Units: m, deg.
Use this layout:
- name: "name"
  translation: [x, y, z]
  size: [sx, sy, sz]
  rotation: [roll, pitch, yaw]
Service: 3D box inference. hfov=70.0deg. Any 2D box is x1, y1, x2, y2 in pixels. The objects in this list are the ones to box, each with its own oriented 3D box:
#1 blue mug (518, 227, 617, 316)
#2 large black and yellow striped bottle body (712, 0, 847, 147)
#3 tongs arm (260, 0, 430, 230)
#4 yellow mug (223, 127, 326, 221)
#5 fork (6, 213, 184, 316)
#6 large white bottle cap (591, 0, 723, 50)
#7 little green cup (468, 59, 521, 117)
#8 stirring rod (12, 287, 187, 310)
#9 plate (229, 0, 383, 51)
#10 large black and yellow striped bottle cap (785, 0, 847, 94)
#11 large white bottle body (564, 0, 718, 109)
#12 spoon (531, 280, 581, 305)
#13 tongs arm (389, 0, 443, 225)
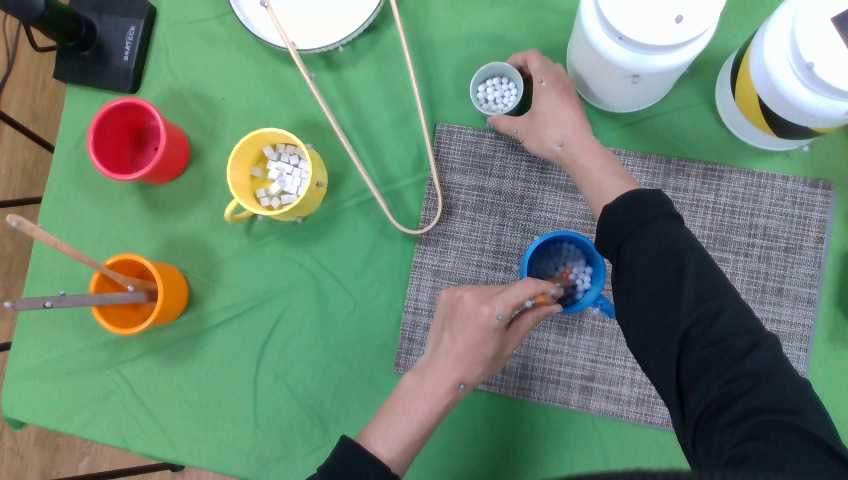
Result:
- name: "blue mug"
  translation: [0.156, 0.042, 0.646]
  size: [0.116, 0.106, 0.082]
  rotation: [38, 91, 8]
- name: "large black and yellow striped bottle body"
  translation: [0.381, -0.174, 0.597]
  size: [0.130, 0.184, 0.130]
  rotation: [0, 86, 7]
- name: "tongs arm"
  translation: [-0.105, -0.175, 0.706]
  size: [0.051, 0.026, 0.385]
  rotation: [-28, 91, 0]
- name: "yellow mug"
  translation: [-0.185, -0.067, 0.714]
  size: [0.131, 0.064, 0.099]
  rotation: [-42, 84, 4]
- name: "fork"
  translation: [-0.367, 0.030, 0.687]
  size: [0.209, 0.018, 0.028]
  rotation: [40, 86, -36]
- name: "large white bottle cap"
  translation: [0.205, -0.226, 0.534]
  size: [0.114, 0.018, 0.114]
  rotation: [0, 87, 7]
- name: "little green cup"
  translation: [0.083, -0.173, 0.702]
  size: [0.061, 0.039, 0.061]
  rotation: [-1, 86, 11]
- name: "stirring rod"
  translation: [-0.363, 0.066, 0.691]
  size: [0.177, 0.006, 0.014]
  rotation: [-2, 80, -35]
- name: "plate"
  translation: [-0.139, -0.329, 0.737]
  size: [0.207, 0.039, 0.207]
  rotation: [0, 87, 7]
- name: "large black and yellow striped bottle cap"
  translation: [0.370, -0.182, 0.514]
  size: [0.115, 0.019, 0.115]
  rotation: [0, 88, 6]
- name: "large white bottle body"
  translation: [0.216, -0.221, 0.618]
  size: [0.130, 0.185, 0.130]
  rotation: [0, 86, 7]
- name: "spoon"
  translation: [0.124, 0.052, 0.579]
  size: [0.041, 0.194, 0.021]
  rotation: [-7, 88, 18]
- name: "tongs arm"
  translation: [-0.028, -0.208, 0.703]
  size: [0.028, 0.028, 0.387]
  rotation: [-14, 92, -3]
